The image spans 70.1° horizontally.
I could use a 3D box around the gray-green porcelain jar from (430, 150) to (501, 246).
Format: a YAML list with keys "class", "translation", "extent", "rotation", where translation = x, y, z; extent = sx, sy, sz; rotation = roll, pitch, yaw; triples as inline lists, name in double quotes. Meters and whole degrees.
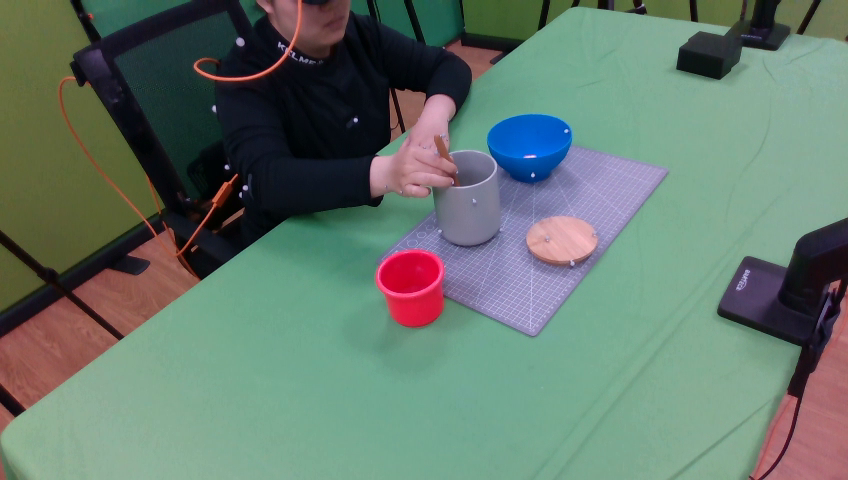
- class: "gray-green porcelain jar"
  translation: [0.069, -0.062, 0.959]
  extent: [0.106, 0.127, 0.105]
  rotation: [-5, 40, 5]

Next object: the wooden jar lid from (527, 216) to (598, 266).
- class: "wooden jar lid"
  translation: [0.214, 0.003, 0.937]
  extent: [0.108, 0.021, 0.108]
  rotation: [-4, 40, 4]

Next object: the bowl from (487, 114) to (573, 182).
- class: "bowl"
  translation: [0.190, -0.156, 1.085]
  extent: [0.151, 0.077, 0.150]
  rotation: [-5, 40, 5]

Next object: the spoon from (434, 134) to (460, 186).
- class: "spoon"
  translation: [0.045, -0.090, 0.919]
  extent: [0.041, 0.195, 0.021]
  rotation: [2, 50, 24]
